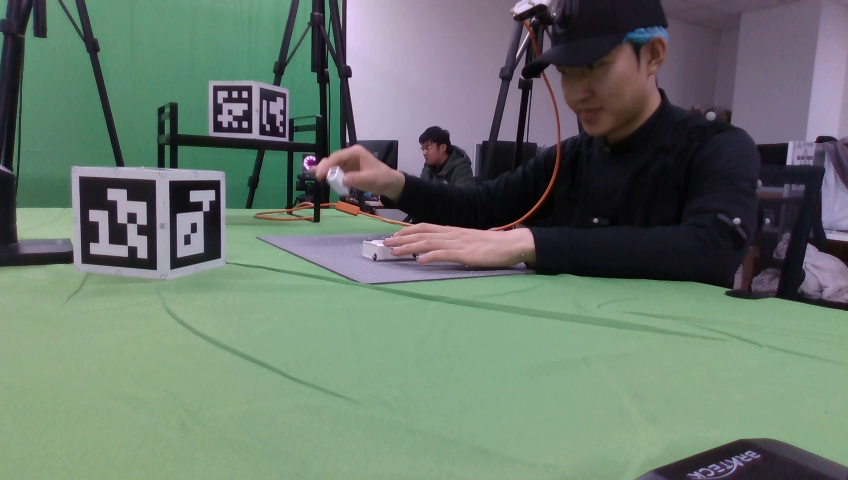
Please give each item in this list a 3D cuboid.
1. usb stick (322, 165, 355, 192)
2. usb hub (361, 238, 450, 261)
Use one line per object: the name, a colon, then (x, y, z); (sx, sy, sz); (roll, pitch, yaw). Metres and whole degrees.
usb stick: (-0.151, -0.108, 1.043); (0.059, 0.021, 0.027); (33, 13, -4)
usb hub: (-0.026, 0.013, 0.894); (0.126, 0.025, 0.049); (-1, 8, -32)
